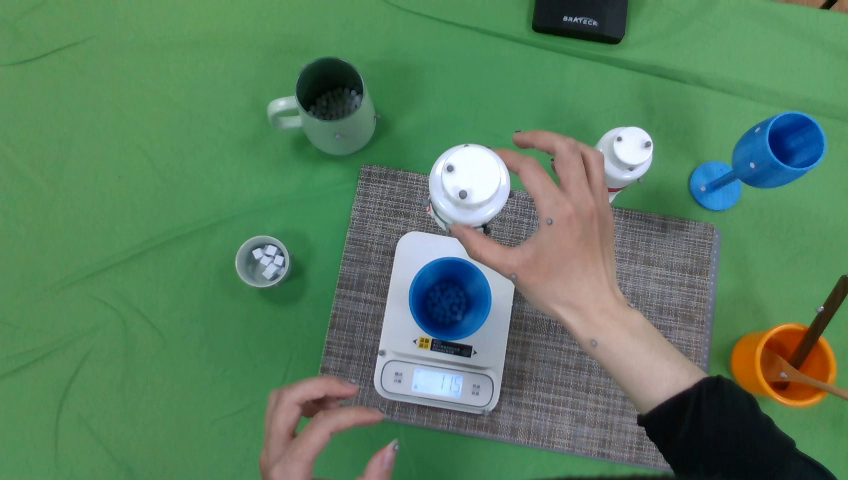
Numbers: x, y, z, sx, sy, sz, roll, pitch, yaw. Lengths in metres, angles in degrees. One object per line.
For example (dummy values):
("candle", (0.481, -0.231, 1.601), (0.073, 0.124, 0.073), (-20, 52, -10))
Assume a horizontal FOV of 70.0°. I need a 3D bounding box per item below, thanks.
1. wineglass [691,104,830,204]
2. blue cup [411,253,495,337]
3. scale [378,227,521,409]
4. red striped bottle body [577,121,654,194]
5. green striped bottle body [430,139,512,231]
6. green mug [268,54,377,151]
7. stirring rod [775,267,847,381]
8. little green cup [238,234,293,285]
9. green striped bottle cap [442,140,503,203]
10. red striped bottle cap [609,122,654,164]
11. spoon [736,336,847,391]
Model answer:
("wineglass", (0.370, -0.091, 0.684), (0.074, 0.172, 0.073), (0, 80, 0))
("blue cup", (0.029, 0.061, 0.655), (0.093, 0.100, 0.092), (0, 83, -1))
("scale", (0.031, 0.090, 0.716), (0.149, 0.031, 0.200), (9, 81, 1))
("red striped bottle body", (0.225, -0.097, 0.709), (0.063, 0.120, 0.063), (0, 81, -1))
("green striped bottle body", (0.037, -0.043, 0.494), (0.063, 0.119, 0.063), (0, 85, 1))
("green mug", (-0.121, -0.157, 0.718), (0.125, 0.105, 0.092), (-12, 82, -3))
("stirring rod", (0.431, 0.098, 0.668), (0.014, 0.177, 0.006), (16, 40, 15))
("little green cup", (-0.185, 0.025, 0.721), (0.061, 0.039, 0.061), (0, 81, -2))
("green striped bottle cap", (0.035, -0.050, 0.438), (0.044, 0.020, 0.044), (0, 84, 1))
("red striped bottle cap", (0.225, -0.106, 0.656), (0.044, 0.018, 0.044), (0, 79, -2))
("spoon", (0.440, 0.152, 0.660), (0.022, 0.192, 0.041), (25, 87, -41))
